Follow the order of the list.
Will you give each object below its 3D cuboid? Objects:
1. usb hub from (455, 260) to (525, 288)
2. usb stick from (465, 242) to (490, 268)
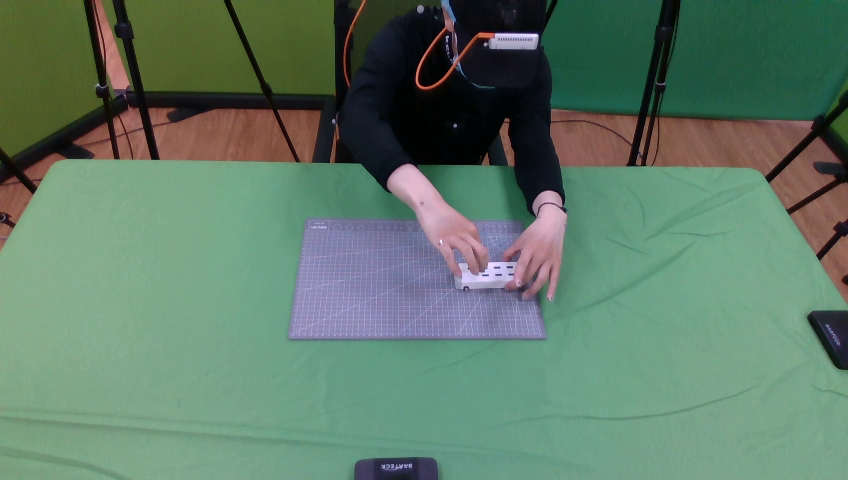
[{"bbox_3d":[0.123,0.064,1.134,0.125,0.025,0.049,-2,47,-4],"label":"usb hub"},{"bbox_3d":[0.102,0.030,1.102,0.027,0.059,0.021,-28,39,32],"label":"usb stick"}]
